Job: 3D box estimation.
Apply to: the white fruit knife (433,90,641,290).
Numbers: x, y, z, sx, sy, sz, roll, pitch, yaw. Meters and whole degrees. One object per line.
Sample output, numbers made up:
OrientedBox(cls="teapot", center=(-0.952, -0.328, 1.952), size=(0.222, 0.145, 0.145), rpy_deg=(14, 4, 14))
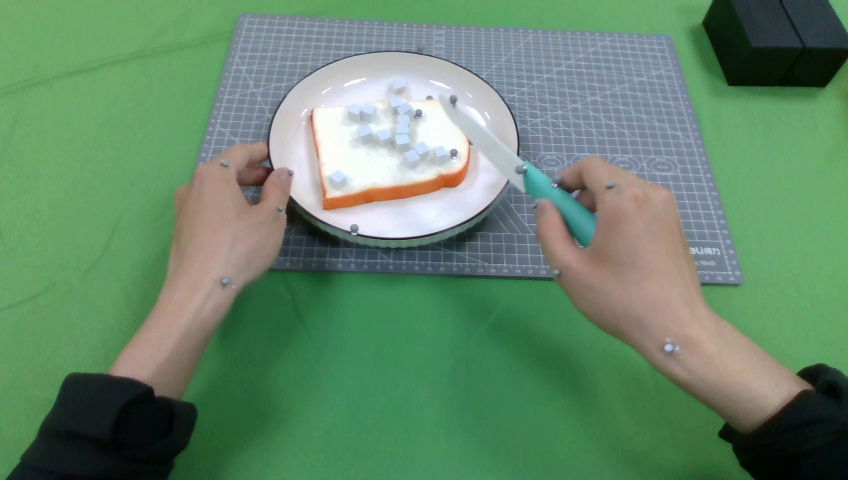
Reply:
OrientedBox(cls="white fruit knife", center=(0.070, -0.045, 0.417), size=(0.016, 0.027, 0.205), rpy_deg=(-27, 60, -31))

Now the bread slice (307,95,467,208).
OrientedBox(cls="bread slice", center=(-0.030, -0.083, 0.516), size=(0.132, 0.019, 0.104), rpy_deg=(-11, 59, -10))

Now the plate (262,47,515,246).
OrientedBox(cls="plate", center=(-0.028, -0.079, 0.512), size=(0.209, 0.038, 0.207), rpy_deg=(2, 58, -2))
